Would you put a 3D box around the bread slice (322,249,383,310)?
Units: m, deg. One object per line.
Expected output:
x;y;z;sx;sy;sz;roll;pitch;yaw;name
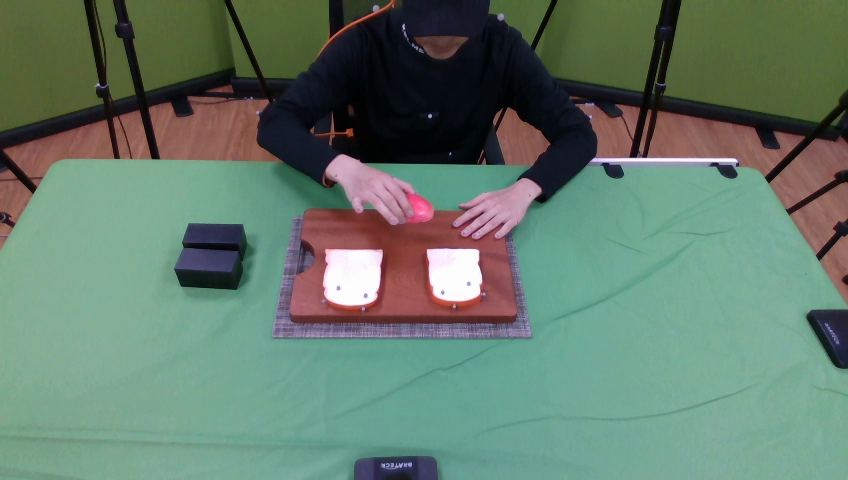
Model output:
-0.127;0.068;1.083;0.107;0.018;0.133;-1;47;-4;bread slice

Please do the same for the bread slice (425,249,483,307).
0.058;0.066;1.100;0.105;0.019;0.130;-1;45;-3;bread slice

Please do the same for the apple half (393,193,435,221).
-0.016;-0.066;1.088;0.081;0.033;0.081;0;35;0;apple half
